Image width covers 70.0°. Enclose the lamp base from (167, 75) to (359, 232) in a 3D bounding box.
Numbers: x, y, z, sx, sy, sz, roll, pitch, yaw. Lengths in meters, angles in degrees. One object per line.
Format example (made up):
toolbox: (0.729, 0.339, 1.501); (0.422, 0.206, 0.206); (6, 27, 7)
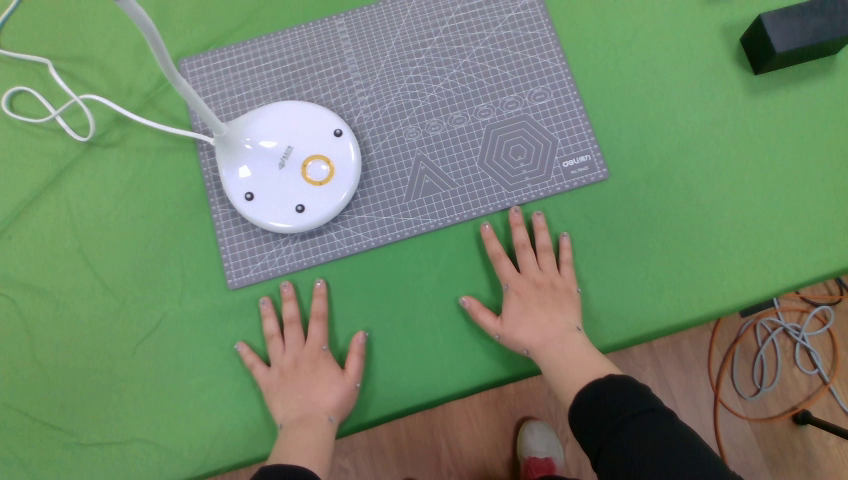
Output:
lamp base: (-0.172, -0.106, 0.623); (0.179, 0.181, 0.160); (10, 78, 9)
